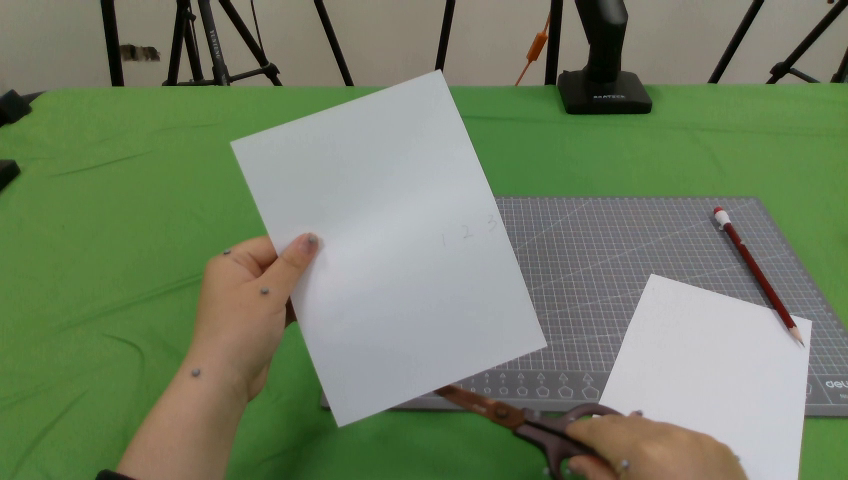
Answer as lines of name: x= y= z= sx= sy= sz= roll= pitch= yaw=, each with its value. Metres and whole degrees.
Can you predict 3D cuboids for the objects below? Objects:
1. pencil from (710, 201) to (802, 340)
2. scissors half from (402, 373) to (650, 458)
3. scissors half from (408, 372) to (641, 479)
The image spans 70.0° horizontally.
pencil: x=0.319 y=0.022 z=0.589 sx=0.012 sy=0.012 sz=0.192 roll=-2 pitch=41 yaw=-1
scissors half: x=0.068 y=0.116 z=0.426 sx=0.175 sy=0.013 sz=0.040 roll=10 pitch=40 yaw=11
scissors half: x=0.059 y=0.128 z=0.413 sx=0.174 sy=0.013 sz=0.040 roll=23 pitch=49 yaw=25
